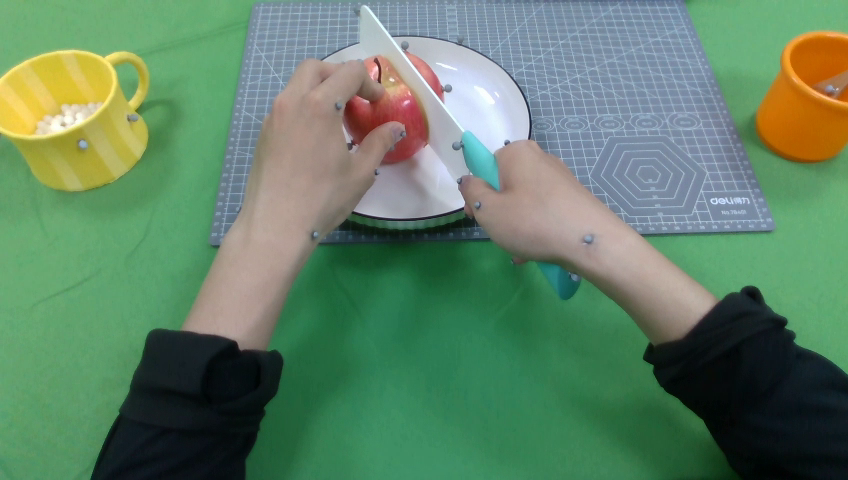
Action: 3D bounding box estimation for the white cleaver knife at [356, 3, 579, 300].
[{"bbox_3d":[0.022,-0.072,0.452,0.021,0.066,0.284,-27,67,-16],"label":"white cleaver knife"}]

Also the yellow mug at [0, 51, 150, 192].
[{"bbox_3d":[-0.284,-0.109,0.509,0.099,0.064,0.130,29,61,17],"label":"yellow mug"}]

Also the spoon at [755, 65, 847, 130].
[{"bbox_3d":[0.367,-0.148,0.488,0.022,0.194,0.041,25,44,-38],"label":"spoon"}]

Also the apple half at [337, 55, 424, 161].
[{"bbox_3d":[-0.041,-0.099,0.487,0.053,0.075,0.080,-30,68,-12],"label":"apple half"}]

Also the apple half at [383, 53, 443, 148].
[{"bbox_3d":[-0.005,-0.118,0.499,0.033,0.082,0.080,-29,62,-18],"label":"apple half"}]

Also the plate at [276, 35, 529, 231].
[{"bbox_3d":[-0.017,-0.091,0.512,0.209,0.038,0.207,0,58,0],"label":"plate"}]
